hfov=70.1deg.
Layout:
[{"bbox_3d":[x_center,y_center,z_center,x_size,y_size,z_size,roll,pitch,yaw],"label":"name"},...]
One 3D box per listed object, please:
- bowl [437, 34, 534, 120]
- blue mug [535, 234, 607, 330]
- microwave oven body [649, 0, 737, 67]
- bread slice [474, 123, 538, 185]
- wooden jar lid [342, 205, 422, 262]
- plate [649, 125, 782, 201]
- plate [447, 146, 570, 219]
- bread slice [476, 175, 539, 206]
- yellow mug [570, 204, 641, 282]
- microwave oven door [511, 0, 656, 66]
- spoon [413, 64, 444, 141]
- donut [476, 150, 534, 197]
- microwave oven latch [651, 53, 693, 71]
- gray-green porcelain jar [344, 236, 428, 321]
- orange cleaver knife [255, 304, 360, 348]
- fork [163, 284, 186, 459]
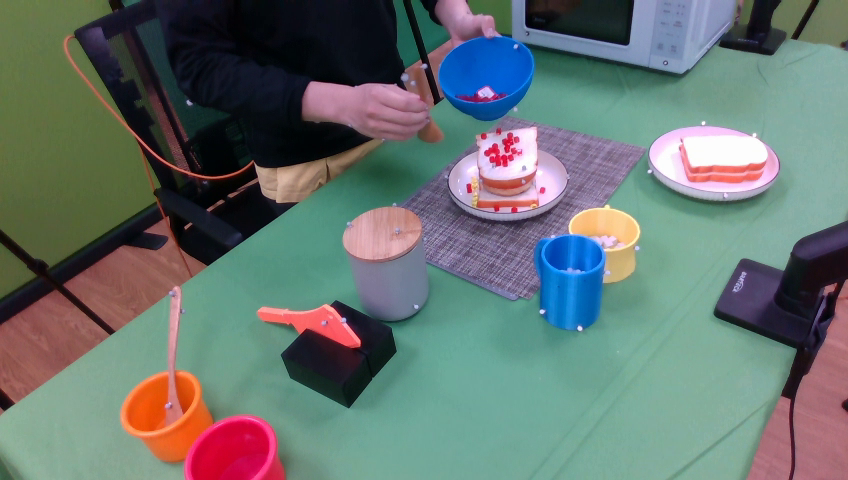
[{"bbox_3d":[0.101,-0.245,0.959,0.151,0.077,0.150,-5,57,9],"label":"bowl"},{"bbox_3d":[0.190,0.048,0.824,0.082,0.106,0.115,-26,44,-21],"label":"blue mug"},{"bbox_3d":[0.475,-0.602,1.411,0.438,0.261,0.327,23,50,32],"label":"microwave oven body"},{"bbox_3d":[0.141,-0.144,1.008,0.107,0.018,0.133,-8,47,8],"label":"bread slice"},{"bbox_3d":[-0.055,-0.006,0.808,0.108,0.021,0.108,-6,40,6],"label":"wooden jar lid"},{"bbox_3d":[0.493,-0.127,1.036,0.207,0.039,0.206,-4,41,4],"label":"plate"},{"bbox_3d":[0.145,-0.098,1.046,0.209,0.038,0.208,-4,41,4],"label":"plate"},{"bbox_3d":[0.144,-0.105,1.057,0.105,0.019,0.131,0,41,6],"label":"bread slice"},{"bbox_3d":[0.268,-0.005,0.904,0.099,0.064,0.130,7,41,15],"label":"yellow mug"},{"bbox_3d":[0.351,-0.539,1.349,0.353,0.245,0.039,24,50,31],"label":"microwave oven door"},{"bbox_3d":[0.000,-0.188,0.848,0.041,0.194,0.021,2,68,8],"label":"spoon"},{"bbox_3d":[0.138,-0.116,1.025,0.099,0.048,0.098,-8,55,13],"label":"donut"},{"bbox_3d":[0.532,-0.386,1.301,0.078,0.029,0.030,27,52,34],"label":"microwave oven latch"},{"bbox_3d":[-0.049,0.042,0.849,0.106,0.127,0.105,-4,41,4],"label":"gray-green porcelain jar"},{"bbox_3d":[-0.161,0.115,0.813,0.210,0.077,0.012,-4,32,46],"label":"orange cleaver knife"},{"bbox_3d":[-0.302,0.157,0.733,0.028,0.019,0.207,-4,84,16],"label":"fork"}]
